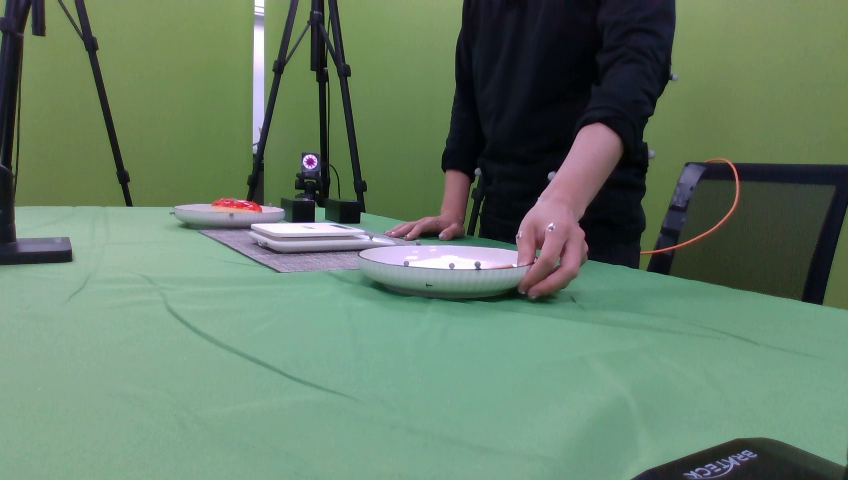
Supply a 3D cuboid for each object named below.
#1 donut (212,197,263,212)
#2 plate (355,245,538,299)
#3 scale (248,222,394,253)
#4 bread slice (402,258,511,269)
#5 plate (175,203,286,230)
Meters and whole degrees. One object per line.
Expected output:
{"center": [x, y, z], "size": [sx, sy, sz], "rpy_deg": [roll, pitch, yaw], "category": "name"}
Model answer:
{"center": [-0.376, -0.061, 1.220], "size": [0.099, 0.048, 0.099], "rpy_deg": [5, 4, 0], "category": "donut"}
{"center": [0.024, 0.035, 0.693], "size": [0.209, 0.038, 0.209], "rpy_deg": [2, 6, 0], "category": "plate"}
{"center": [-0.162, -0.006, 0.954], "size": [0.202, 0.031, 0.148], "rpy_deg": [-1, 9, -32], "category": "scale"}
{"center": [0.028, 0.037, 0.689], "size": [0.104, 0.019, 0.132], "rpy_deg": [6, 7, 38], "category": "bread slice"}
{"center": [-0.381, -0.047, 1.199], "size": [0.208, 0.039, 0.207], "rpy_deg": [3, 7, 0], "category": "plate"}
